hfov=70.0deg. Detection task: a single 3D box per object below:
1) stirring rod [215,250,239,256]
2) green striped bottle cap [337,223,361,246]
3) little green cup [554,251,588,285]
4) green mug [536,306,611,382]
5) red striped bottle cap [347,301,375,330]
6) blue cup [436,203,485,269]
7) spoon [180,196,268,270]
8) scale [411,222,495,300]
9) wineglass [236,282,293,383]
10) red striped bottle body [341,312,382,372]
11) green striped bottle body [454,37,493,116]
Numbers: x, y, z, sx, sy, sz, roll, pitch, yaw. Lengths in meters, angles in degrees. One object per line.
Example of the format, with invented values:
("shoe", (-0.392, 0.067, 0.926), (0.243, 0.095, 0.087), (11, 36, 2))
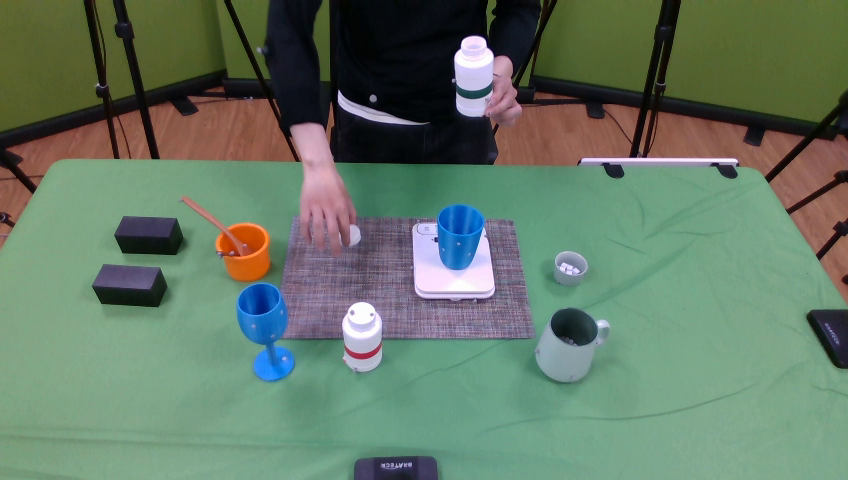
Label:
("stirring rod", (-0.339, 0.024, 1.059), (0.014, 0.176, 0.006), (17, 86, -6))
("green striped bottle cap", (-0.141, -0.011, 1.134), (0.044, 0.020, 0.044), (-1, 49, 1))
("little green cup", (0.277, 0.055, 1.151), (0.061, 0.039, 0.061), (1, 46, -1))
("green mug", (0.250, 0.167, 0.996), (0.125, 0.105, 0.092), (-16, 49, -18))
("red striped bottle cap", (-0.097, 0.116, 0.934), (0.044, 0.018, 0.044), (2, 49, -3))
("blue cup", (0.061, -0.001, 1.098), (0.093, 0.101, 0.092), (2, 44, -2))
("spoon", (-0.360, -0.014, 1.094), (0.021, 0.194, 0.041), (-28, 26, 31))
("scale", (0.052, 0.031, 1.158), (0.149, 0.032, 0.199), (1, 46, -4))
("wineglass", (-0.243, 0.143, 0.934), (0.074, 0.173, 0.073), (2, 46, -2))
("red striped bottle body", (-0.100, 0.154, 0.972), (0.063, 0.120, 0.062), (2, 46, -1))
("green striped bottle body", (0.081, -0.268, 0.987), (0.063, 0.120, 0.063), (-2, 49, 3))
